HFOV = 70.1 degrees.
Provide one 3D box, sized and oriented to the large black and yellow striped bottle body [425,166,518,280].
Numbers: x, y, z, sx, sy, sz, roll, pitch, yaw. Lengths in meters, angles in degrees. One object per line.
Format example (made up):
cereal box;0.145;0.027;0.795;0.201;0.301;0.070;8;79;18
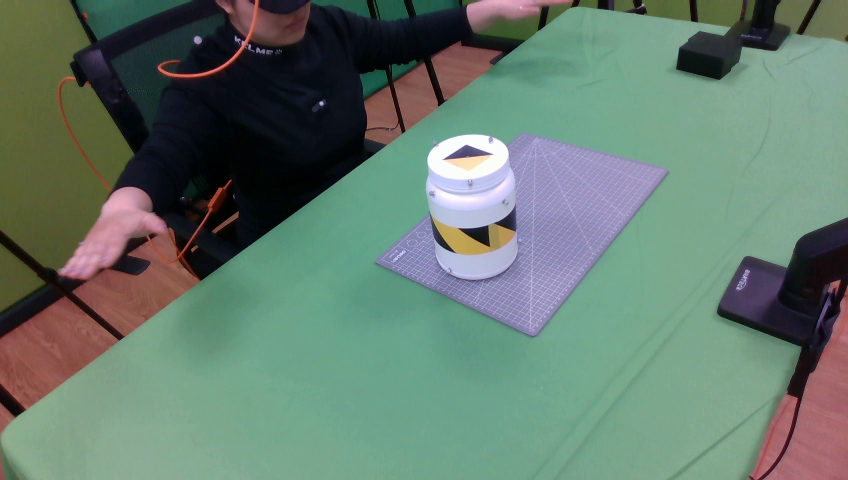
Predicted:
large black and yellow striped bottle body;0.072;-0.047;0.894;0.131;0.185;0.130;-5;40;5

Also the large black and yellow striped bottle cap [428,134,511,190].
large black and yellow striped bottle cap;0.062;-0.111;0.840;0.115;0.019;0.114;-5;41;5
